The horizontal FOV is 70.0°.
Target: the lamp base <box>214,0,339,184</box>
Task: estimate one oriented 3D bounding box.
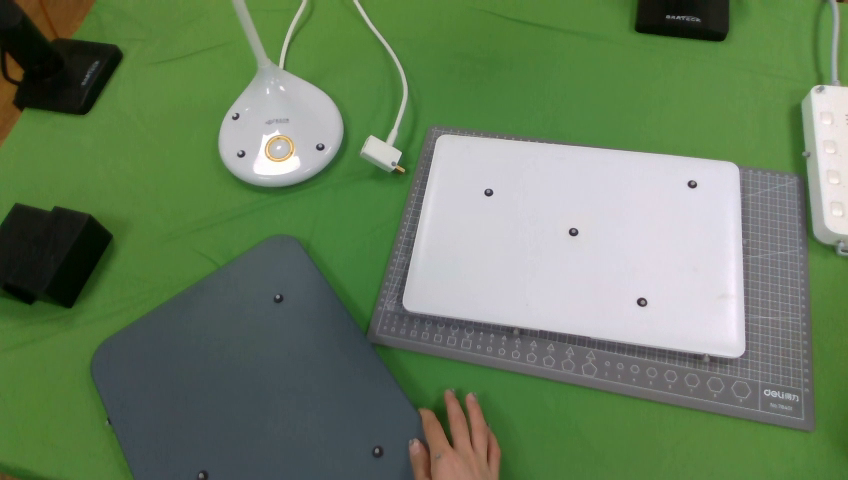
[{"bbox_3d":[-0.199,-0.185,0.715,0.161,0.182,0.177,-16,59,-4],"label":"lamp base"}]

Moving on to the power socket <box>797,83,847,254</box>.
[{"bbox_3d":[0.476,-0.090,0.694,0.072,0.033,0.225,9,63,8],"label":"power socket"}]

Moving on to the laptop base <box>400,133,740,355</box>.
[{"bbox_3d":[0.165,-0.005,0.683,0.354,0.023,0.234,7,67,8],"label":"laptop base"}]

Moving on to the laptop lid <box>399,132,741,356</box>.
[{"bbox_3d":[0.163,-0.008,0.672,0.356,0.013,0.240,8,66,9],"label":"laptop lid"}]

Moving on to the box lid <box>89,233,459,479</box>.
[{"bbox_3d":[-0.166,0.176,0.613,0.263,0.015,0.368,-34,63,-12],"label":"box lid"}]

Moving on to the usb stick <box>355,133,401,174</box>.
[{"bbox_3d":[-0.052,-0.103,0.739,0.059,0.021,0.027,32,70,-17],"label":"usb stick"}]
